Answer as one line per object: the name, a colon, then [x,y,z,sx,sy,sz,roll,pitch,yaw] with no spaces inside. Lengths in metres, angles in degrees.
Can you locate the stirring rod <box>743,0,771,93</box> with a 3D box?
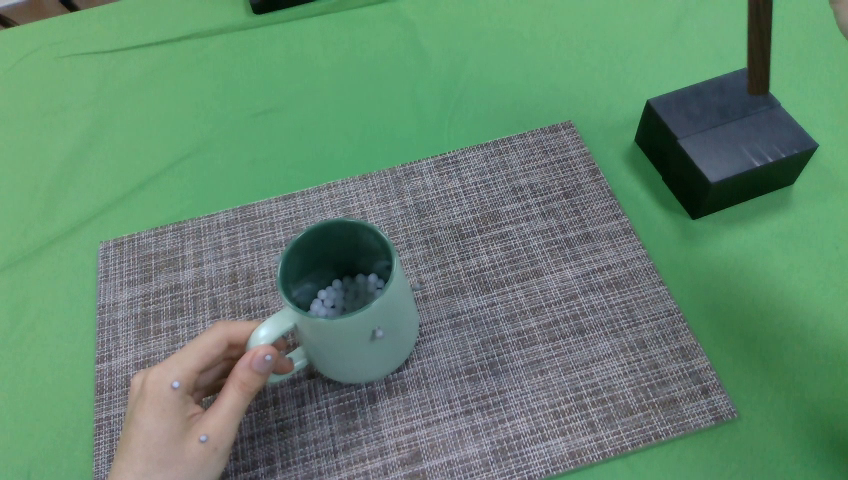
stirring rod: [0.194,-0.170,0.351,0.014,0.178,0.006,3,36,30]

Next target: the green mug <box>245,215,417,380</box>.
green mug: [-0.067,0.053,0.429,0.125,0.106,0.091,-36,62,-17]
